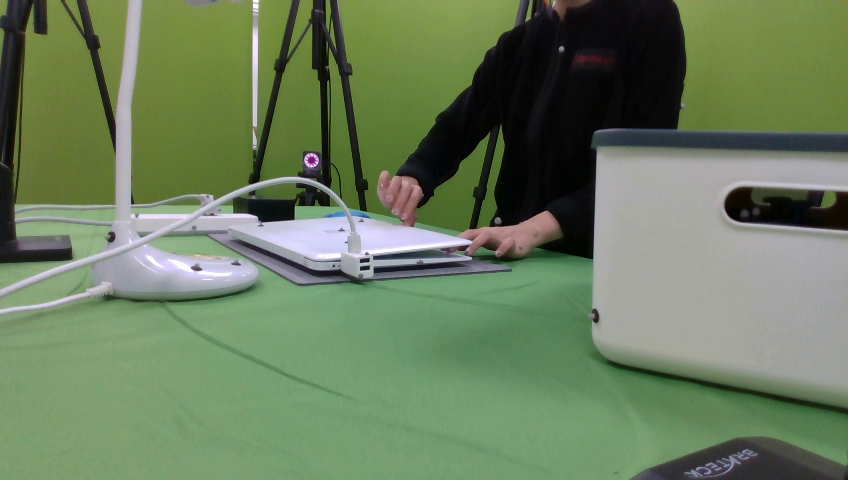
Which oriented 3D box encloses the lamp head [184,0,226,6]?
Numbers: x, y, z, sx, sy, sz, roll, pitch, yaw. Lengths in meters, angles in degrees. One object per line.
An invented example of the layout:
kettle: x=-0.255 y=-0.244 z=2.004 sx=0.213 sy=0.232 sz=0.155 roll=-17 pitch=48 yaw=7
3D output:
lamp head: x=-0.229 y=-0.320 z=0.627 sx=0.112 sy=0.112 sz=0.123 roll=6 pitch=-36 yaw=26

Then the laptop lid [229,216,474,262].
laptop lid: x=-0.121 y=-0.009 z=0.887 sx=0.243 sy=0.013 sz=0.355 roll=-5 pitch=11 yaw=-32

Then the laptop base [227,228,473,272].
laptop base: x=-0.123 y=0.011 z=0.889 sx=0.237 sy=0.023 sz=0.352 roll=1 pitch=6 yaw=-35

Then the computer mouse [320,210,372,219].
computer mouse: x=-0.153 y=-0.034 z=1.139 sx=0.118 sy=0.041 sz=0.062 roll=-5 pitch=12 yaw=-28

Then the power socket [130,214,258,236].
power socket: x=-0.397 y=-0.028 z=1.048 sx=0.228 sy=0.032 sz=0.072 roll=-3 pitch=7 yaw=-35

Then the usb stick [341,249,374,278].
usb stick: x=-0.078 y=0.026 z=0.686 sx=0.021 sy=0.027 sz=0.059 roll=-8 pitch=8 yaw=-30

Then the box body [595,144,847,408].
box body: x=0.309 y=0.007 z=0.508 sx=0.253 sy=0.160 sz=0.366 roll=6 pitch=8 yaw=30

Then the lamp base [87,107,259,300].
lamp base: x=-0.254 y=-0.039 z=0.603 sx=0.160 sy=0.180 sz=0.179 roll=5 pitch=10 yaw=18

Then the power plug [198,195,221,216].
power plug: x=-0.386 y=-0.055 z=1.088 sx=0.035 sy=0.052 sz=0.072 roll=-1 pitch=6 yaw=-24

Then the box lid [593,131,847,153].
box lid: x=0.311 y=-0.067 z=0.498 sx=0.262 sy=0.015 sz=0.373 roll=6 pitch=7 yaw=30
